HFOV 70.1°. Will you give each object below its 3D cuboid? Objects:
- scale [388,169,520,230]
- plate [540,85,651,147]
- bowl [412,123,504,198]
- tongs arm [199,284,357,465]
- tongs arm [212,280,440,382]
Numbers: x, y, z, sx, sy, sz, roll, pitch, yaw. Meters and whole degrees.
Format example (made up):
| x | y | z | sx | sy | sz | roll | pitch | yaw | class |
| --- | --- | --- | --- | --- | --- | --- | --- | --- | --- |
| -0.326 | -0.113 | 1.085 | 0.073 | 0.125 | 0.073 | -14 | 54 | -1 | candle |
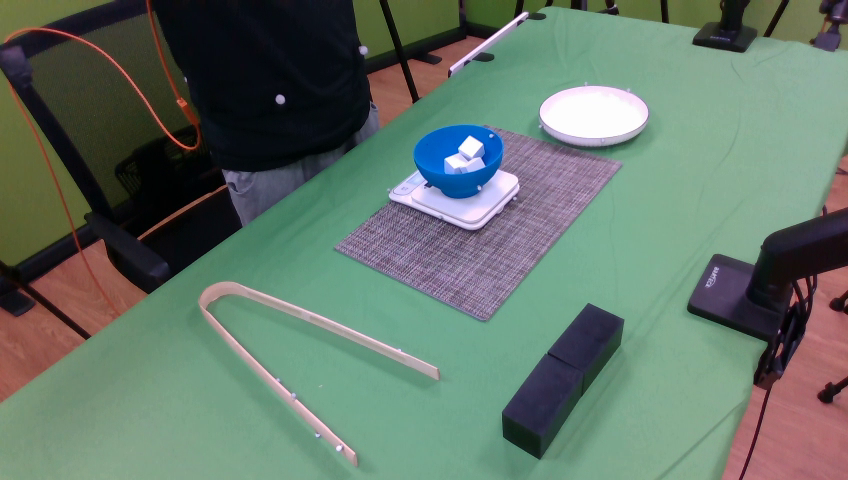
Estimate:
| x | y | z | sx | sy | sz | roll | pitch | yaw | class |
| --- | --- | --- | --- | --- | --- | --- | --- | --- | --- |
| 0.050 | -0.090 | 1.052 | 0.199 | 0.032 | 0.149 | 24 | 49 | 31 | scale |
| 0.333 | -0.238 | 1.186 | 0.207 | 0.039 | 0.206 | -4 | 41 | 4 | plate |
| 0.060 | -0.123 | 1.007 | 0.151 | 0.077 | 0.150 | -5 | 41 | 5 | bowl |
| -0.199 | 0.162 | 0.797 | 0.381 | 0.026 | 0.051 | 28 | 50 | 35 | tongs arm |
| -0.148 | 0.121 | 0.845 | 0.385 | 0.028 | 0.028 | 17 | 48 | 25 | tongs arm |
